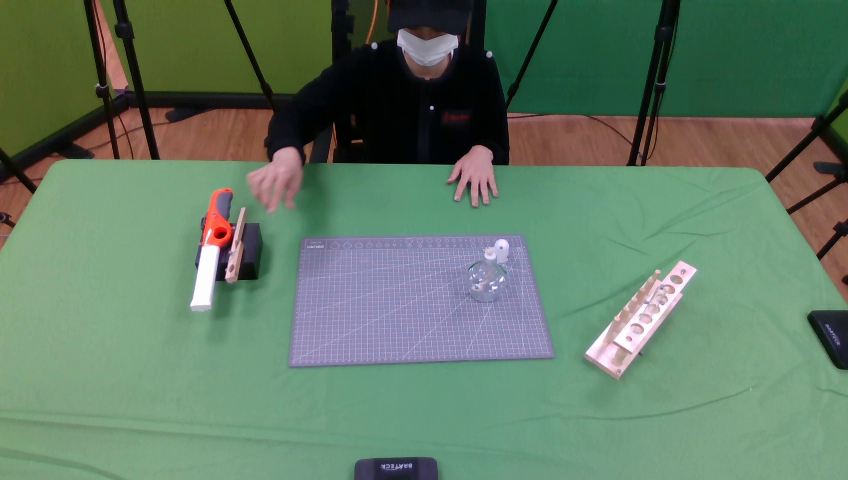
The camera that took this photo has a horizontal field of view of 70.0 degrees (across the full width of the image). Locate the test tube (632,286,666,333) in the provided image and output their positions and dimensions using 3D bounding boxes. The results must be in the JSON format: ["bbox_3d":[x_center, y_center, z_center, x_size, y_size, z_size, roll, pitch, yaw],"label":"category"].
[{"bbox_3d":[0.363,0.125,0.993,0.017,0.151,0.017,2,49,-2],"label":"test tube"}]

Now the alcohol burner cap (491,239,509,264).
[{"bbox_3d":[0.150,0.020,1.174,0.034,0.048,0.033,2,46,-2],"label":"alcohol burner cap"}]

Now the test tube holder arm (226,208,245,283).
[{"bbox_3d":[-0.342,0.006,1.101,0.013,0.015,0.177,-7,47,-2],"label":"test tube holder arm"}]

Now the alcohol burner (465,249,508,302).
[{"bbox_3d":[0.114,0.057,1.085,0.078,0.120,0.077,2,48,-2],"label":"alcohol burner"}]

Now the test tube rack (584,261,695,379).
[{"bbox_3d":[0.380,0.127,1.062,0.066,0.085,0.242,34,53,26],"label":"test tube rack"}]

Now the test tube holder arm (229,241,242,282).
[{"bbox_3d":[-0.332,0.038,1.070,0.010,0.015,0.087,-6,47,-1],"label":"test tube holder arm"}]

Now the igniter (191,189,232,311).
[{"bbox_3d":[-0.381,0.008,1.092,0.057,0.025,0.274,-1,50,-6],"label":"igniter"}]
